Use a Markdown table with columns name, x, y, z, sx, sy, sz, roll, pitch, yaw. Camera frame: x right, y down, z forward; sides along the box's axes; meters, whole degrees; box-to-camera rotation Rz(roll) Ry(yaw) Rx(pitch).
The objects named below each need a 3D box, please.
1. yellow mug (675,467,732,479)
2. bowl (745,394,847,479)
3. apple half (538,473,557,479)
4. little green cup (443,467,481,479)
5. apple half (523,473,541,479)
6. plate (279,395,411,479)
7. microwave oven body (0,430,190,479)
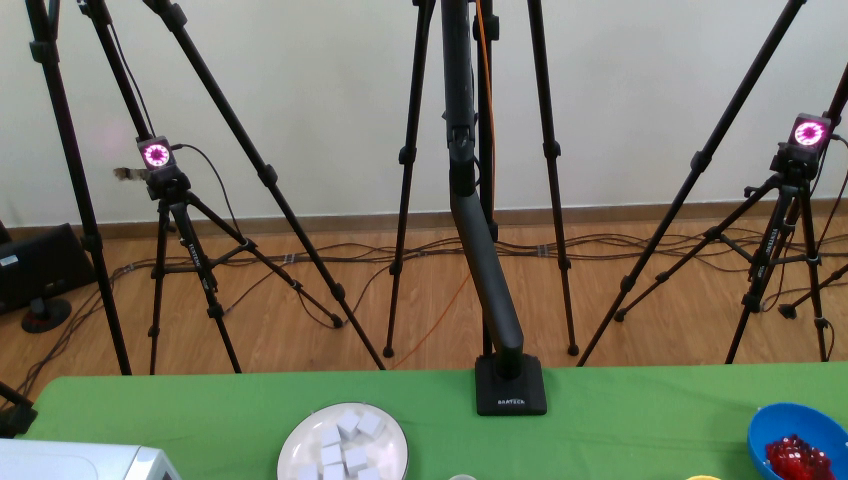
| name | x | y | z | sx | sy | sz | roll | pitch | yaw |
| --- | --- | --- | --- | --- | --- | --- | --- | --- | --- |
| yellow mug | 0.384 | 0.389 | 0.853 | 0.131 | 0.064 | 0.099 | -24 | 45 | -19 |
| bowl | 0.555 | 0.317 | 0.910 | 0.151 | 0.077 | 0.150 | -3 | 42 | 3 |
| apple half | 0.192 | 0.375 | 0.879 | 0.033 | 0.082 | 0.080 | -18 | 43 | -9 |
| little green cup | 0.058 | 0.380 | 0.914 | 0.061 | 0.039 | 0.061 | -3 | 41 | 3 |
| apple half | 0.155 | 0.386 | 0.872 | 0.053 | 0.075 | 0.080 | -18 | 47 | -8 |
| plate | -0.124 | 0.345 | 0.970 | 0.207 | 0.039 | 0.205 | -2 | 41 | 2 |
| microwave oven body | -0.490 | 0.473 | 0.681 | 0.326 | 0.262 | 0.437 | 1 | 42 | 6 |
